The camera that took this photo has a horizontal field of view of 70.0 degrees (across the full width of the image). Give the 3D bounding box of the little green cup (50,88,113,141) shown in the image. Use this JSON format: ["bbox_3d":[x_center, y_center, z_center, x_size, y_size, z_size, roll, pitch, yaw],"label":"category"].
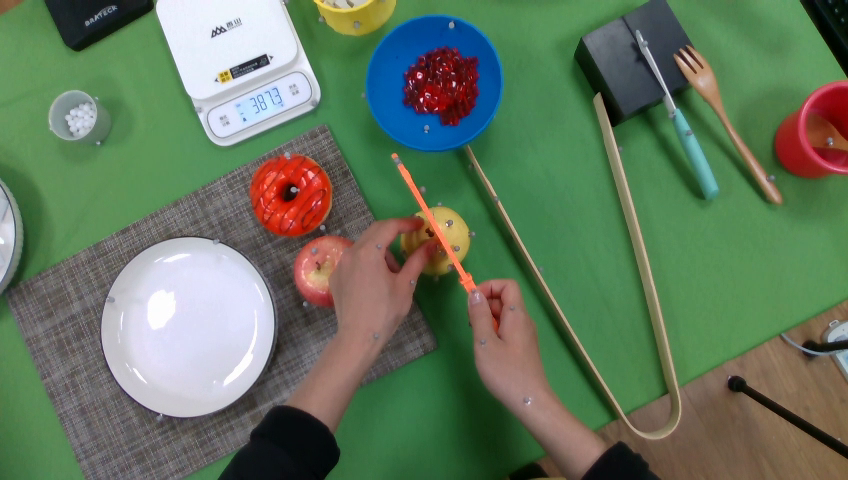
[{"bbox_3d":[-0.416,-0.150,0.740,0.061,0.039,0.061,0,86,5],"label":"little green cup"}]

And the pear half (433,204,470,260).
[{"bbox_3d":[0.034,-0.013,0.671,0.031,0.088,0.070,-28,78,2],"label":"pear half"}]

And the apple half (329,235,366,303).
[{"bbox_3d":[-0.080,0.034,0.679,0.033,0.081,0.081,5,86,8],"label":"apple half"}]

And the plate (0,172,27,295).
[{"bbox_3d":[-0.582,-0.004,0.744,0.207,0.039,0.207,0,86,5],"label":"plate"}]

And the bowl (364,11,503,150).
[{"bbox_3d":[0.013,-0.170,0.688,0.151,0.077,0.151,0,87,4],"label":"bowl"}]

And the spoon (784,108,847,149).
[{"bbox_3d":[0.449,-0.086,0.615,0.041,0.022,0.191,-33,40,1],"label":"spoon"}]

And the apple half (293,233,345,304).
[{"bbox_3d":[-0.118,0.030,0.684,0.053,0.075,0.080,6,89,8],"label":"apple half"}]

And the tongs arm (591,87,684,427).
[{"bbox_3d":[0.237,0.015,0.684,0.028,0.028,0.386,-12,86,-4],"label":"tongs arm"}]

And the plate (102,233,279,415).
[{"bbox_3d":[-0.267,0.096,0.709,0.209,0.038,0.208,0,86,5],"label":"plate"}]

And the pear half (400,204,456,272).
[{"bbox_3d":[0.000,0.000,0.662,0.056,0.110,0.076,-29,76,4],"label":"pear half"}]

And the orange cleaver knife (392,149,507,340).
[{"bbox_3d":[0.024,0.004,0.598,0.012,0.077,0.212,-30,104,3],"label":"orange cleaver knife"}]

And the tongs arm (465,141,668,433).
[{"bbox_3d":[0.157,0.047,0.684,0.051,0.026,0.384,-27,85,-2],"label":"tongs arm"}]

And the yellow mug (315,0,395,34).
[{"bbox_3d":[-0.100,-0.311,0.711,0.130,0.064,0.100,30,89,7],"label":"yellow mug"}]

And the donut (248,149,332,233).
[{"bbox_3d":[-0.156,-0.057,0.707,0.099,0.048,0.099,0,87,6],"label":"donut"}]

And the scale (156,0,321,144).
[{"bbox_3d":[-0.224,-0.231,0.733,0.148,0.031,0.200,-23,85,3],"label":"scale"}]

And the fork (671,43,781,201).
[{"bbox_3d":[0.336,-0.127,0.666,0.028,0.018,0.208,-37,100,-1],"label":"fork"}]

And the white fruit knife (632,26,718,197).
[{"bbox_3d":[0.274,-0.139,0.665,0.016,0.027,0.208,-30,99,2],"label":"white fruit knife"}]
